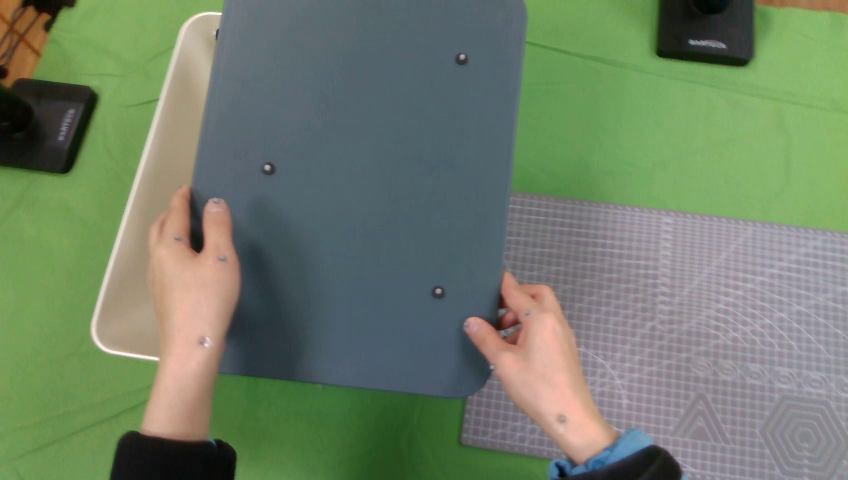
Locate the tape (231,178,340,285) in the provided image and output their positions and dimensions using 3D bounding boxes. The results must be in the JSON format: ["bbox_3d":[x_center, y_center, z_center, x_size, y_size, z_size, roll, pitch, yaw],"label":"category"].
[{"bbox_3d":[-0.157,-0.008,0.694,0.117,0.053,0.116,-1,70,4],"label":"tape"}]

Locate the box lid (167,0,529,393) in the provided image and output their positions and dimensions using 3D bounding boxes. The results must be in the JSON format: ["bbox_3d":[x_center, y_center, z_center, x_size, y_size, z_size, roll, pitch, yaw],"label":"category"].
[{"bbox_3d":[-0.054,-0.070,0.511,0.264,0.015,0.370,7,82,-4],"label":"box lid"}]

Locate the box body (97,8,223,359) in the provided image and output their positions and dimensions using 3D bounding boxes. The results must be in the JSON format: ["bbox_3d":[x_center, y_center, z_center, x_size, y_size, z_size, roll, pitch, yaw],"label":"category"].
[{"bbox_3d":[-0.146,-0.040,0.653,0.254,0.161,0.362,6,73,4],"label":"box body"}]
